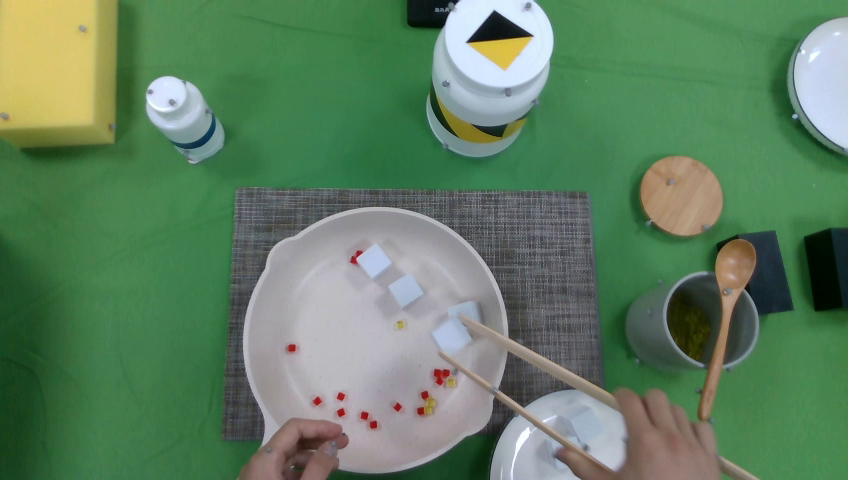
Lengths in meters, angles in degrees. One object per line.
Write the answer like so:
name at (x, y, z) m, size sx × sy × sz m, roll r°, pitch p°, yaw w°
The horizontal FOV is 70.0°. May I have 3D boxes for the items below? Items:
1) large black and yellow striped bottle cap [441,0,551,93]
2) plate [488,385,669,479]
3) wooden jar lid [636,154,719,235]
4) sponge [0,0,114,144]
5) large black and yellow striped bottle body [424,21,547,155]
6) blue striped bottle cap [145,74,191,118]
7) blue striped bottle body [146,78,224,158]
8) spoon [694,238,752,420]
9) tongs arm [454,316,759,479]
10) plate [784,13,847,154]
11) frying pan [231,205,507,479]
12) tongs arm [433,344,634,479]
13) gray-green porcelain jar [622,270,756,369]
large black and yellow striped bottle cap at (0.076, -0.211, 0.634) m, size 0.115 × 0.019 × 0.114 m, roll 1°, pitch 80°, yaw -4°
plate at (0.175, 0.272, 0.699) m, size 0.208 × 0.039 × 0.207 m, roll 1°, pitch 80°, yaw -4°
wooden jar lid at (0.328, -0.058, 0.790) m, size 0.108 × 0.021 × 0.108 m, roll 1°, pitch 80°, yaw -3°
sponge at (-0.456, -0.226, 0.747) m, size 0.118 × 0.061 × 0.206 m, roll -5°, pitch 79°, yaw -5°
large black and yellow striped bottle body at (0.069, -0.191, 0.716) m, size 0.131 × 0.184 × 0.130 m, roll 1°, pitch 77°, yaw -4°
blue striped bottle cap at (-0.280, -0.158, 0.663) m, size 0.044 × 0.020 × 0.044 m, roll 1°, pitch 80°, yaw -4°
blue striped bottle body at (-0.282, -0.146, 0.712) m, size 0.063 × 0.121 × 0.063 m, roll 1°, pitch 77°, yaw -3°
spoon at (0.306, 0.092, 0.631) m, size 0.042 × 0.021 × 0.193 m, roll 16°, pitch 81°, yaw -4°
tongs arm at (0.183, 0.166, 0.553) m, size 0.384 × 0.028 × 0.028 m, roll 28°, pitch 62°, yaw 28°
plate at (0.591, -0.208, 0.830) m, size 0.209 × 0.038 × 0.208 m, roll 1°, pitch 78°, yaw -3°
frying pan at (-0.120, 0.180, 0.661) m, size 0.306 × 0.103 × 0.487 m, roll 41°, pitch 70°, yaw 6°
tongs arm at (0.167, 0.184, 0.544) m, size 0.381 × 0.027 × 0.050 m, roll 31°, pitch 67°, yaw 29°
gray-green porcelain jar at (0.297, 0.096, 0.701) m, size 0.106 × 0.127 × 0.105 m, roll 1°, pitch 78°, yaw -4°
